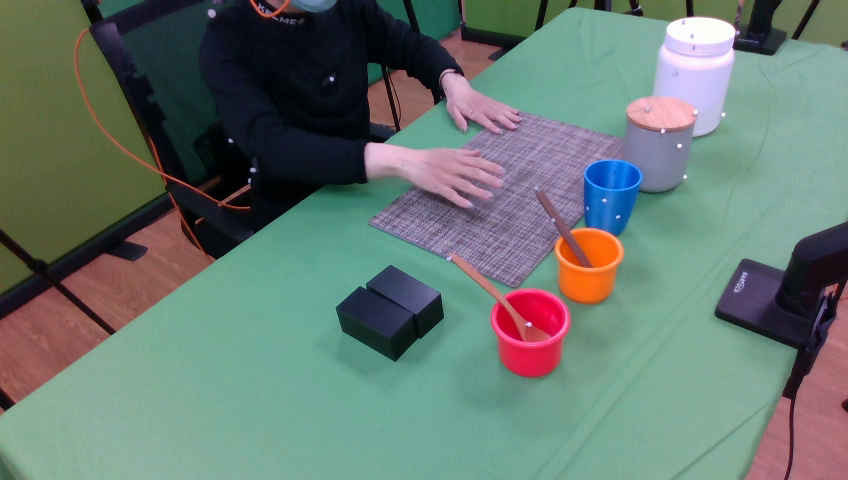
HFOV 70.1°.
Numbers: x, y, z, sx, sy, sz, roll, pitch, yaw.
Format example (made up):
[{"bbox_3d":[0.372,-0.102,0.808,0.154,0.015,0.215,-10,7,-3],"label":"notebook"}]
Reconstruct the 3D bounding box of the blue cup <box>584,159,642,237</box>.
[{"bbox_3d":[0.289,-0.061,0.944,0.092,0.100,0.092,-3,40,3],"label":"blue cup"}]

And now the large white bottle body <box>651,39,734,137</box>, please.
[{"bbox_3d":[0.496,-0.300,1.126,0.130,0.185,0.130,-4,41,4],"label":"large white bottle body"}]

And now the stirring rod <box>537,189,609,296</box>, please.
[{"bbox_3d":[0.210,0.003,0.855,0.014,0.006,0.176,-32,88,-30],"label":"stirring rod"}]

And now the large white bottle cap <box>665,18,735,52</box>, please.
[{"bbox_3d":[0.488,-0.364,1.071,0.115,0.018,0.114,-4,41,4],"label":"large white bottle cap"}]

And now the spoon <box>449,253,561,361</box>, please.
[{"bbox_3d":[0.103,0.083,0.770,0.194,0.021,0.042,47,51,-7],"label":"spoon"}]

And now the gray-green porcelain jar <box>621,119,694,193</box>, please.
[{"bbox_3d":[0.389,-0.152,1.016,0.106,0.127,0.105,-4,40,4],"label":"gray-green porcelain jar"}]

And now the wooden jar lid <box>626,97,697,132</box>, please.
[{"bbox_3d":[0.381,-0.198,0.976,0.108,0.021,0.108,-2,40,3],"label":"wooden jar lid"}]
